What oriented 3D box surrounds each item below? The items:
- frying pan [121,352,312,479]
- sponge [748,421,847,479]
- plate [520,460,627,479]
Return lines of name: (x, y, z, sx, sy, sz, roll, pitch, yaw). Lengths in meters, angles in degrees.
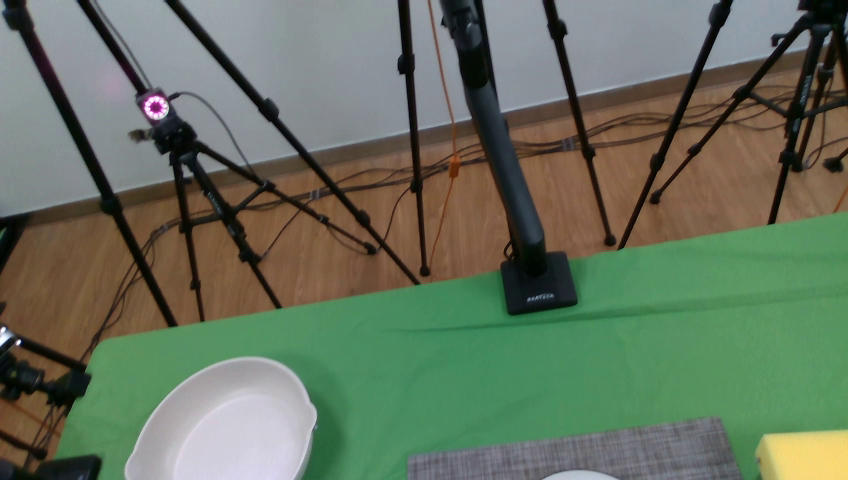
frying pan: (-0.295, 0.380, 0.864, 0.307, 0.104, 0.482, -16, 40, 3)
sponge: (0.459, 0.311, 0.672, 0.118, 0.061, 0.205, -7, 49, 10)
plate: (0.193, 0.385, 0.761, 0.207, 0.039, 0.205, -8, 49, 9)
